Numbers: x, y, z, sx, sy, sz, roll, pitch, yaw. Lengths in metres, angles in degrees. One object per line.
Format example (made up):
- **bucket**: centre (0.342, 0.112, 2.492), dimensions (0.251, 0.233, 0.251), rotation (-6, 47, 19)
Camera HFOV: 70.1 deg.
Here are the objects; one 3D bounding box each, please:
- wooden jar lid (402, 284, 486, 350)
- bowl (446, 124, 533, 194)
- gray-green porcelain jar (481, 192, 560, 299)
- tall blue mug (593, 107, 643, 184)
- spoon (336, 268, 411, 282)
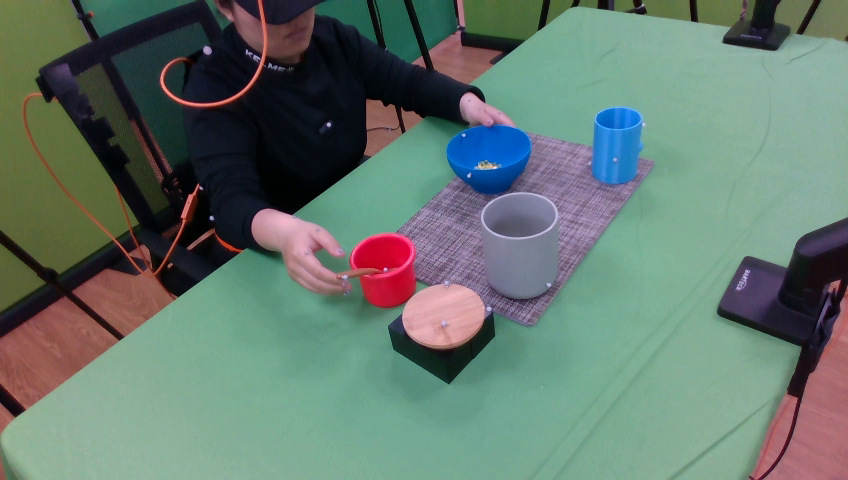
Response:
- **wooden jar lid**: centre (0.027, 0.101, 0.786), dimensions (0.108, 0.021, 0.108), rotation (-5, 39, 4)
- **bowl**: centre (0.118, -0.135, 1.075), dimensions (0.151, 0.077, 0.150), rotation (-5, 40, 5)
- **gray-green porcelain jar**: centre (0.139, 0.012, 0.858), dimensions (0.106, 0.127, 0.105), rotation (-6, 40, 5)
- **tall blue mug**: centre (0.330, -0.172, 1.052), dimensions (0.078, 0.108, 0.106), rotation (-12, 40, 0)
- **spoon**: centre (-0.071, 0.047, 0.850), dimensions (0.041, 0.195, 0.021), rotation (19, 93, 24)
